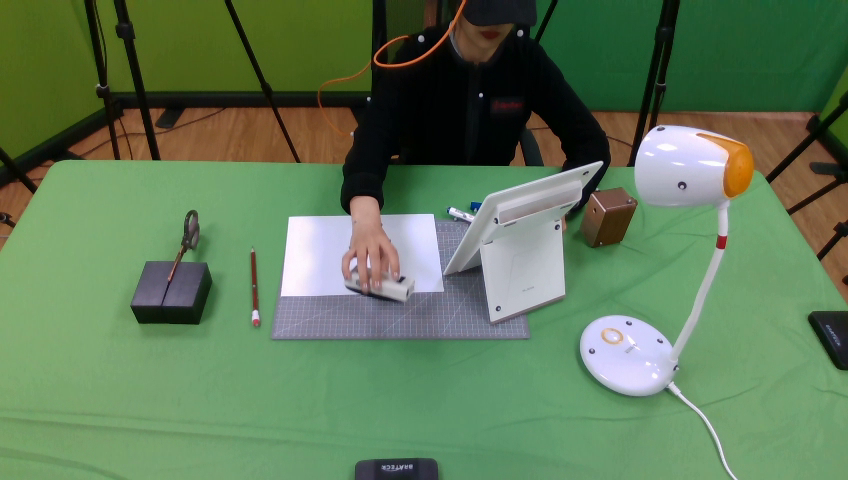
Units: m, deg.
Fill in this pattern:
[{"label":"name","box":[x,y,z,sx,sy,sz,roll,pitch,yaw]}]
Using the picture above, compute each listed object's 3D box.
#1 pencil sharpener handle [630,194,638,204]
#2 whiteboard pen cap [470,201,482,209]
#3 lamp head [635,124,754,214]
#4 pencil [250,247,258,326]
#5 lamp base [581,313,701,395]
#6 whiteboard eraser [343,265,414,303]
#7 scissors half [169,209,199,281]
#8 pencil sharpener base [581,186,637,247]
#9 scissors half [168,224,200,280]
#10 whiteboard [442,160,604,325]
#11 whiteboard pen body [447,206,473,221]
[{"label":"pencil sharpener handle","box":[0.417,-0.068,1.215,0.031,0.068,0.036,-11,60,-14]},{"label":"whiteboard pen cap","box":[0.113,-0.073,1.279,0.033,0.018,0.018,4,46,6]},{"label":"lamp head","box":[0.351,-0.089,0.775,0.112,0.113,0.122,-30,30,-28]},{"label":"pencil","box":[-0.311,0.079,1.107,0.012,0.012,0.192,-7,46,-11]},{"label":"lamp base","box":[0.361,0.145,0.973,0.178,0.181,0.160,34,53,23]},{"label":"whiteboard eraser","box":[-0.076,0.077,1.022,0.112,0.042,0.055,12,18,12]},{"label":"scissors half","box":[-0.437,0.007,1.098,0.013,0.040,0.174,3,48,-3]},{"label":"pencil sharpener base","box":[0.369,-0.047,1.209,0.077,0.107,0.061,-11,47,-14]},{"label":"scissors half","box":[-0.440,0.023,1.111,0.013,0.040,0.174,7,29,-6]},{"label":"whiteboard","box":[0.184,0.025,1.029,0.217,0.306,0.143,-17,69,-19]},{"label":"whiteboard pen body","box":[0.112,-0.039,1.241,0.140,0.017,0.017,23,49,13]}]
